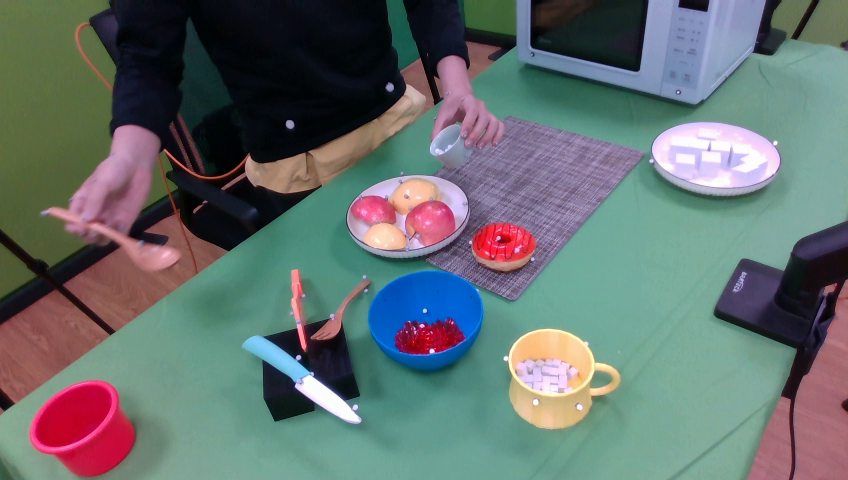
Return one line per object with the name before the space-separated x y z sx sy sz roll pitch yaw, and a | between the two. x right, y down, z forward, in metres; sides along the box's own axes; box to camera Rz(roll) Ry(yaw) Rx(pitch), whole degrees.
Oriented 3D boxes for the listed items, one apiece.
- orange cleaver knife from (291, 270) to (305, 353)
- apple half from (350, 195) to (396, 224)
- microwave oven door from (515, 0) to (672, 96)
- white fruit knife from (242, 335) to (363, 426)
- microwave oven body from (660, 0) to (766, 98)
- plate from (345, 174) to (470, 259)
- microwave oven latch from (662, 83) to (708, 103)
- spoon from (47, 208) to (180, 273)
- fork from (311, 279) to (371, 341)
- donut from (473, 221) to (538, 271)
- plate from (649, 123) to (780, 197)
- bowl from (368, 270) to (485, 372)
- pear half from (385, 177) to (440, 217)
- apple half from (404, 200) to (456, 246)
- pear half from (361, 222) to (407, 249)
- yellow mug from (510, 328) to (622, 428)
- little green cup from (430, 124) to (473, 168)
orange cleaver knife | -0.175 0.094 0.844 0.012 0.077 0.210 -11 14 -10
apple half | -0.081 -0.056 1.008 0.081 0.033 0.081 11 24 -4
microwave oven door | 0.343 -0.455 1.259 0.353 0.245 0.039 26 51 33
white fruit knife | -0.148 0.167 0.730 0.206 0.016 0.027 26 79 31
microwave oven body | 0.472 -0.513 1.317 0.438 0.261 0.327 26 51 34
plate | -0.026 -0.037 1.004 0.209 0.038 0.208 -4 40 4
microwave oven latch | 0.518 -0.296 1.204 0.078 0.029 0.030 28 52 35
spoon | -0.388 -0.004 0.751 0.193 0.021 0.041 25 48 8
fork | -0.108 0.092 0.832 0.028 0.019 0.207 -6 19 15
donut | 0.123 0.008 0.923 0.099 0.048 0.098 -3 38 3
plate | 0.497 -0.134 1.046 0.207 0.039 0.206 -4 40 4
bowl | 0.007 0.118 0.791 0.151 0.077 0.150 -5 40 4
pear half | -0.030 -0.079 1.033 0.109 0.056 0.076 -1 36 15
apple half | 0.009 -0.035 0.969 0.075 0.053 0.080 -27 40 -22
pear half | -0.063 -0.012 0.958 0.071 0.031 0.087 2 24 -25
yellow mug | 0.168 0.164 0.722 0.130 0.064 0.099 0 40 8
little green cup | 0.044 -0.143 0.934 0.061 0.039 0.061 -25 41 25
